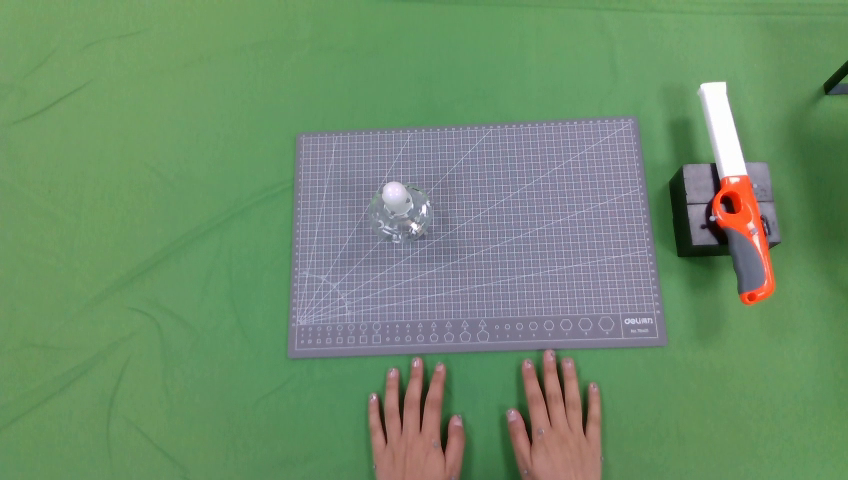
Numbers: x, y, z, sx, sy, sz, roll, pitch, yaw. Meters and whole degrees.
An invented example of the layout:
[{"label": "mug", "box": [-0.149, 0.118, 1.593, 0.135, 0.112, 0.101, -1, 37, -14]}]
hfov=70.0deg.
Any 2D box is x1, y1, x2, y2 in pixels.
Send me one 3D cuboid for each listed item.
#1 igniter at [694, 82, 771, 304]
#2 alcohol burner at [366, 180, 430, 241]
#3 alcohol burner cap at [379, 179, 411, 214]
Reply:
[{"label": "igniter", "box": [0.355, -0.061, 0.700, 0.057, 0.025, 0.274, -3, 70, 3]}, {"label": "alcohol burner", "box": [-0.032, -0.041, 0.714, 0.078, 0.120, 0.077, 0, 73, 1]}, {"label": "alcohol burner cap", "box": [-0.034, -0.050, 0.679, 0.034, 0.048, 0.033, -2, 77, 8]}]
